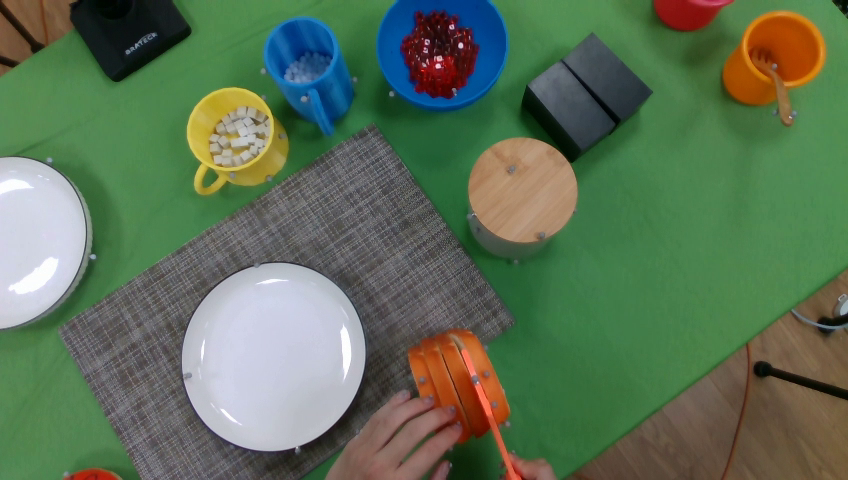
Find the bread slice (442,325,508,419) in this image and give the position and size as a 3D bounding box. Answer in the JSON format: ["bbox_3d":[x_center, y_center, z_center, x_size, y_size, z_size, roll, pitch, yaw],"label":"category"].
[{"bbox_3d":[0.054,0.137,0.633,0.019,0.131,0.104,-24,86,-9],"label":"bread slice"}]

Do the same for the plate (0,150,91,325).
[{"bbox_3d":[-0.494,-0.002,0.720,0.207,0.039,0.207,0,81,2],"label":"plate"}]

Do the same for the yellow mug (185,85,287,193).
[{"bbox_3d":[-0.229,-0.111,0.714,0.099,0.064,0.130,32,85,7],"label":"yellow mug"}]

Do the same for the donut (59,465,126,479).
[{"bbox_3d":[-0.367,0.299,0.666,0.099,0.048,0.098,0,80,0],"label":"donut"}]

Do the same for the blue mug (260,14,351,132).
[{"bbox_3d":[-0.130,-0.183,0.703,0.082,0.106,0.116,-15,81,0],"label":"blue mug"}]

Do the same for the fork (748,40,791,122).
[{"bbox_3d":[0.379,-0.178,0.663,0.028,0.019,0.206,27,39,-1],"label":"fork"}]

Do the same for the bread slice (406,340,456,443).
[{"bbox_3d":[0.007,0.155,0.632,0.018,0.135,0.106,-23,80,-2],"label":"bread slice"}]

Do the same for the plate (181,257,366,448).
[{"bbox_3d":[-0.166,0.124,0.685,0.209,0.038,0.208,0,81,2],"label":"plate"}]

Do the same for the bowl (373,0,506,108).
[{"bbox_3d":[0.019,-0.219,0.717,0.151,0.077,0.151,0,81,2],"label":"bowl"}]

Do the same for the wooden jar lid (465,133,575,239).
[{"bbox_3d":[0.095,-0.052,0.601,0.108,0.021,0.108,0,81,-1],"label":"wooden jar lid"}]

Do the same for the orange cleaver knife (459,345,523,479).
[{"bbox_3d":[0.071,0.188,0.572,0.012,0.076,0.213,-23,120,-3],"label":"orange cleaver knife"}]

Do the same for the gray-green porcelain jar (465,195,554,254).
[{"bbox_3d":[0.098,-0.042,0.662,0.106,0.127,0.105,0,80,2],"label":"gray-green porcelain jar"}]
